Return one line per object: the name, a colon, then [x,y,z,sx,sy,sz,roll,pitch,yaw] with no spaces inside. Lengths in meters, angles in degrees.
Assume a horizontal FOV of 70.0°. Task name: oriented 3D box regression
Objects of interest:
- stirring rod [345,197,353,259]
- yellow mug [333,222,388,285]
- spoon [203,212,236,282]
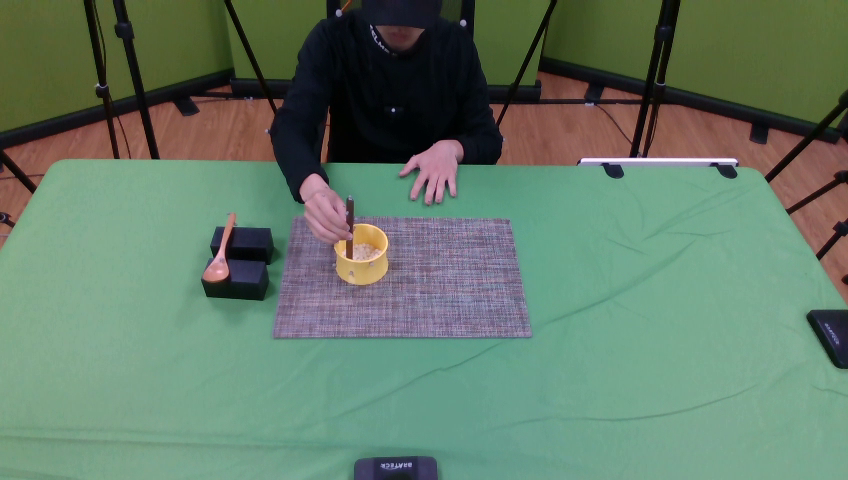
stirring rod: [-0.133,-0.010,1.077,0.014,0.177,0.006,24,49,15]
yellow mug: [-0.126,0.015,1.139,0.100,0.064,0.130,-24,51,-24]
spoon: [-0.361,0.009,1.097,0.041,0.022,0.192,0,44,-3]
